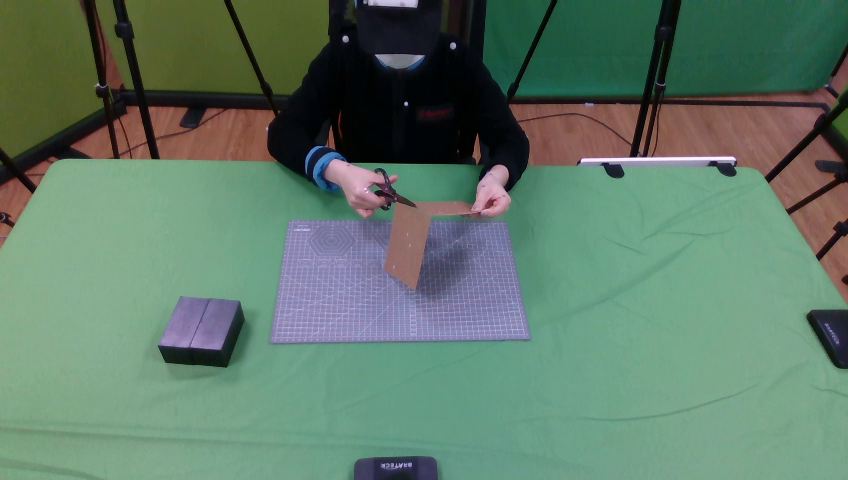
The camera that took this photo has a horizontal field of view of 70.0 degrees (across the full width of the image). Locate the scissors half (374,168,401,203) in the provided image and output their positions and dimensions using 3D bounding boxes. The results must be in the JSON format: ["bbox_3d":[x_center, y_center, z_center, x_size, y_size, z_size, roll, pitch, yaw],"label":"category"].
[{"bbox_3d":[-0.056,-0.092,1.125,0.013,0.040,0.174,-16,38,-23],"label":"scissors half"}]

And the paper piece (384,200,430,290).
[{"bbox_3d":[-0.034,0.006,1.079,0.004,0.136,0.134,6,11,-30],"label":"paper piece"}]

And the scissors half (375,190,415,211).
[{"bbox_3d":[-0.055,-0.072,1.133,0.013,0.040,0.174,-11,11,-25],"label":"scissors half"}]

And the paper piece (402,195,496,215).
[{"bbox_3d":[0.042,-0.063,1.102,0.138,0.008,0.135,1,18,-28],"label":"paper piece"}]
